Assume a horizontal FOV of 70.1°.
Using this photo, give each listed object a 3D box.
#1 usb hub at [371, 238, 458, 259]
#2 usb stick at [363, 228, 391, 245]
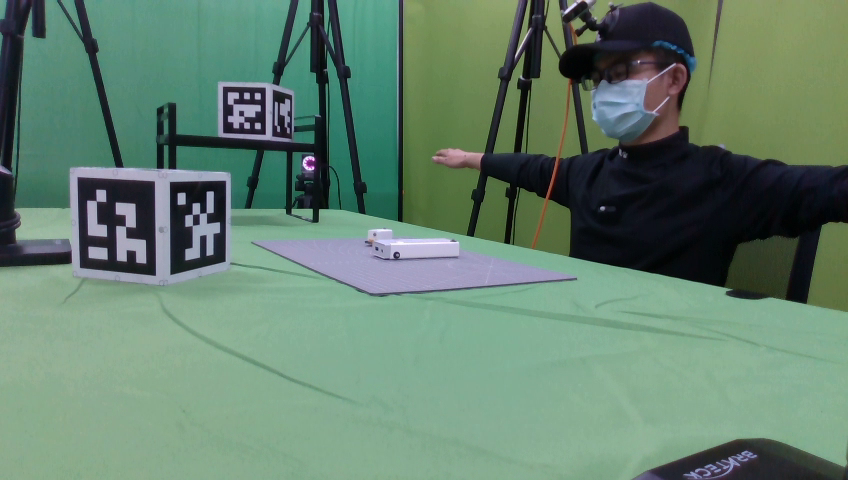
[{"bbox_3d":[-0.013,0.012,0.908,0.126,0.025,0.049,-2,9,-28],"label":"usb hub"},{"bbox_3d":[-0.080,-0.005,1.020,0.021,0.027,0.059,8,12,31],"label":"usb stick"}]
